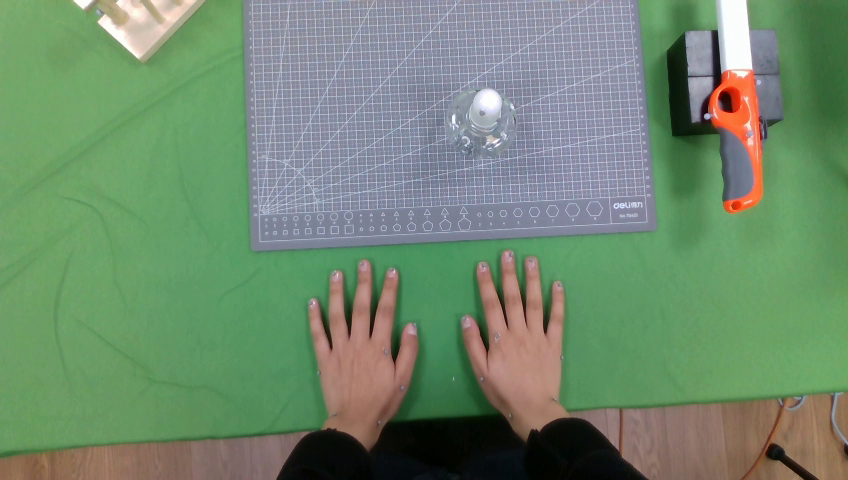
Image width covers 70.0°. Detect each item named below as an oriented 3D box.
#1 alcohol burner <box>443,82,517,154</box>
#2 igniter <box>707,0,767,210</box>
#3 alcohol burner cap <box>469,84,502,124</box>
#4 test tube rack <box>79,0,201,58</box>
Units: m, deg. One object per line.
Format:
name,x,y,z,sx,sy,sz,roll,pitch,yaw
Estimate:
alcohol burner,0.060,-0.131,0.625,0.078,0.119,0.077,0,83,-2
igniter,0.324,-0.167,0.633,0.057,0.025,0.275,0,83,1
alcohol burner cap,0.061,-0.134,0.590,0.034,0.048,0.034,0,87,3
test tube rack,-0.259,-0.319,0.650,0.066,0.085,0.242,42,86,3
